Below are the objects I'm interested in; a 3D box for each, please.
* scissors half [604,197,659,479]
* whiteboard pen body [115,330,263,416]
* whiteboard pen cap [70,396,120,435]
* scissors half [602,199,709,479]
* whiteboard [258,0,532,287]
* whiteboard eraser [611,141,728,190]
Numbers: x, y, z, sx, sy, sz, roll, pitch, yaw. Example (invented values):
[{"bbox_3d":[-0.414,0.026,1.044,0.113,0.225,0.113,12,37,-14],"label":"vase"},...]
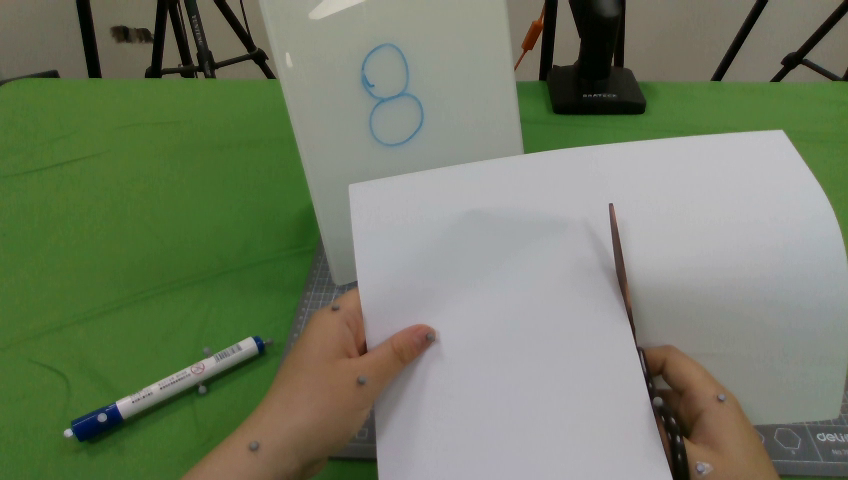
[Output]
[{"bbox_3d":[0.121,0.061,0.368,0.013,0.175,0.040,-6,3,-23],"label":"scissors half"},{"bbox_3d":[-0.192,0.106,0.471,0.141,0.017,0.017,-26,46,-28],"label":"whiteboard pen body"},{"bbox_3d":[-0.239,0.127,0.444,0.033,0.018,0.018,-26,46,-27],"label":"whiteboard pen cap"},{"bbox_3d":[0.128,0.057,0.348,0.013,0.040,0.174,-7,72,-18],"label":"scissors half"},{"bbox_3d":[-0.038,-0.147,0.594,0.217,0.307,0.142,-18,23,-17],"label":"whiteboard"},{"bbox_3d":[0.267,-0.082,0.666,0.113,0.042,0.055,0,43,0],"label":"whiteboard eraser"}]
